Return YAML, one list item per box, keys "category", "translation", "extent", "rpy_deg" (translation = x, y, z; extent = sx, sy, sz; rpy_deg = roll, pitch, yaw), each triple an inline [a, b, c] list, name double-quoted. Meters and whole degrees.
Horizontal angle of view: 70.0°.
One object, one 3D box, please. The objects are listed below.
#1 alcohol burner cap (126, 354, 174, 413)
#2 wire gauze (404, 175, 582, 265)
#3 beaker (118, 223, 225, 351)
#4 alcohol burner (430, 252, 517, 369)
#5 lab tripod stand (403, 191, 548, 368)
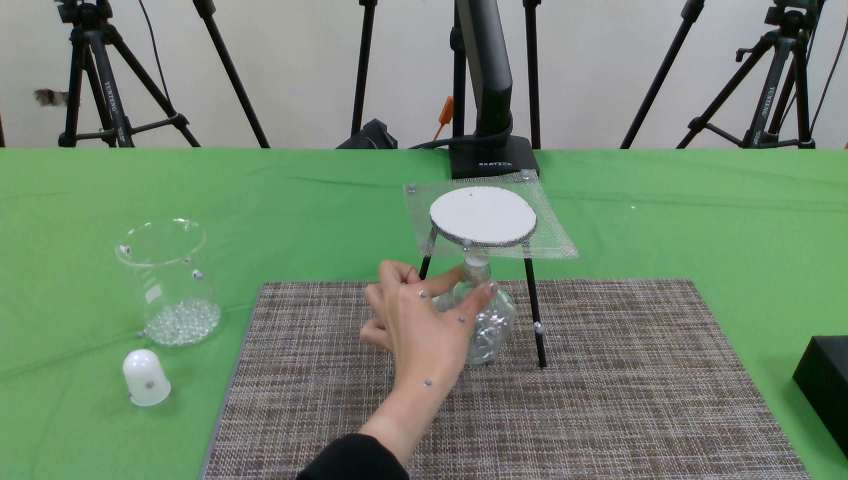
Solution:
- category: "alcohol burner cap"
  translation: [-0.229, 0.116, 0.501]
  extent: [0.034, 0.048, 0.033]
  rpy_deg: [1, 35, 0]
- category: "wire gauze"
  translation: [0.051, -0.017, 0.493]
  extent: [0.125, 0.011, 0.120]
  rpy_deg: [-3, 36, -7]
- category: "beaker"
  translation: [-0.225, 0.044, 0.555]
  extent: [0.074, 0.101, 0.083]
  rpy_deg: [8, 35, 10]
- category: "alcohol burner"
  translation: [0.044, 0.054, 0.526]
  extent: [0.078, 0.120, 0.077]
  rpy_deg: [2, 36, -1]
- category: "lab tripod stand"
  translation: [0.053, 0.035, 0.536]
  extent: [0.148, 0.132, 0.147]
  rpy_deg: [2, 34, -1]
